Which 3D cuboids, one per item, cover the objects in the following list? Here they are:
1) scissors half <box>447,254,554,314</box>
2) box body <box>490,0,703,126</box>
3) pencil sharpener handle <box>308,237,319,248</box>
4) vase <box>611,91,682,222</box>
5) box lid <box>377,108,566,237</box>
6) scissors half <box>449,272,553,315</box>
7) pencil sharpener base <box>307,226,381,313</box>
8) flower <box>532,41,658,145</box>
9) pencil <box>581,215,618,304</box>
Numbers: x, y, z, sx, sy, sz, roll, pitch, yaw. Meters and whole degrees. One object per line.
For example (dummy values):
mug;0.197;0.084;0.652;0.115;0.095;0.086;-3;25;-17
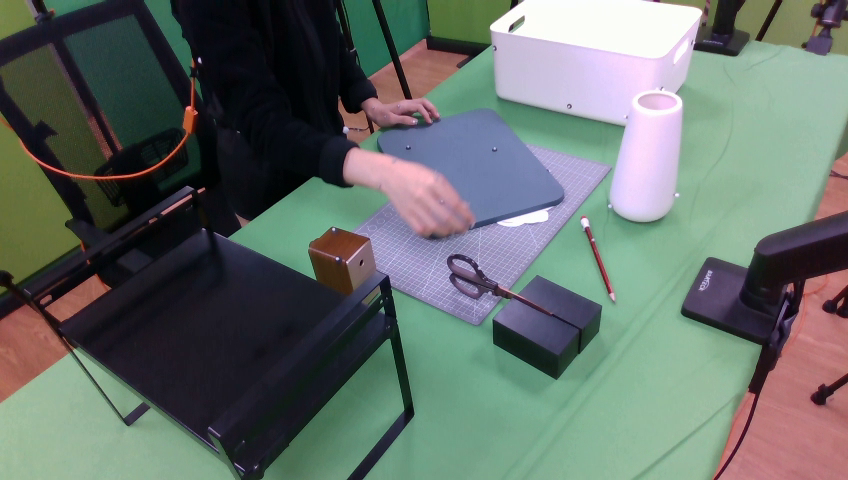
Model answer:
scissors half;0.101;0.060;0.821;0.174;0.040;0.013;28;51;28
box body;0.352;-0.384;1.268;0.361;0.161;0.255;21;48;29
pencil sharpener handle;-0.158;0.017;0.892;0.030;0.068;0.036;18;61;28
vase;0.348;-0.125;0.935;0.098;0.201;0.097;-3;40;3
box lid;0.074;-0.141;1.137;0.264;0.015;0.368;-16;40;-10
scissors half;0.104;0.076;0.834;0.173;0.040;0.013;15;49;42
pencil sharpener base;-0.116;0.043;0.875;0.076;0.107;0.061;18;47;27
flower;0.370;-0.321;1.323;0.359;0.044;0.038;47;36;22
pencil;0.266;0.026;0.917;0.012;0.012;0.193;-6;42;1
